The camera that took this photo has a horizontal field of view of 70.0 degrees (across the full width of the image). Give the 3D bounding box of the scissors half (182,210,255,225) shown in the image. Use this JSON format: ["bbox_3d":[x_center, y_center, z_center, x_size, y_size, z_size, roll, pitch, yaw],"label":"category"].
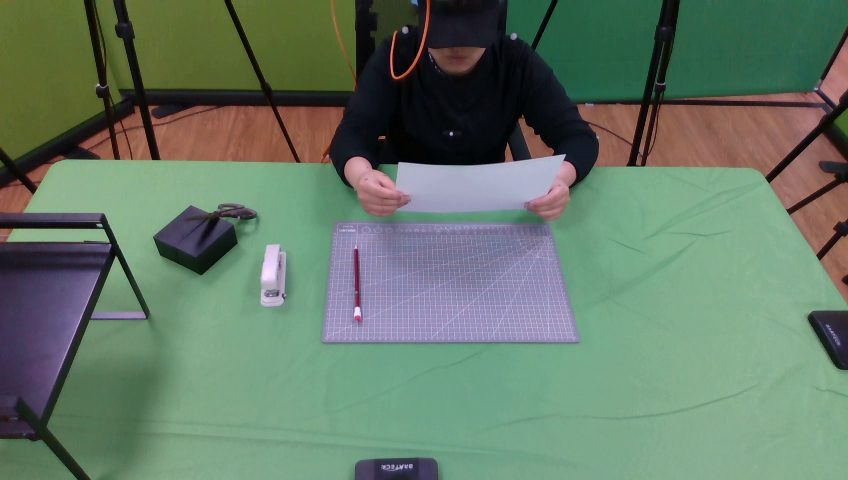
[{"bbox_3d":[-0.389,-0.042,1.158,0.040,0.013,0.175,41,21,22],"label":"scissors half"}]

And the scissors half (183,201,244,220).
[{"bbox_3d":[-0.405,-0.054,1.163,0.040,0.013,0.175,29,18,7],"label":"scissors half"}]

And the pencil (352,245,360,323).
[{"bbox_3d":[-0.127,0.076,1.120,0.012,0.012,0.192,-2,44,-7],"label":"pencil"}]

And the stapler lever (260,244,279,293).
[{"bbox_3d":[-0.279,0.045,1.096,0.027,0.040,0.117,-2,44,-9],"label":"stapler lever"}]

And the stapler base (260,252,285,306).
[{"bbox_3d":[-0.279,0.064,1.113,0.041,0.024,0.129,-1,44,-9],"label":"stapler base"}]
